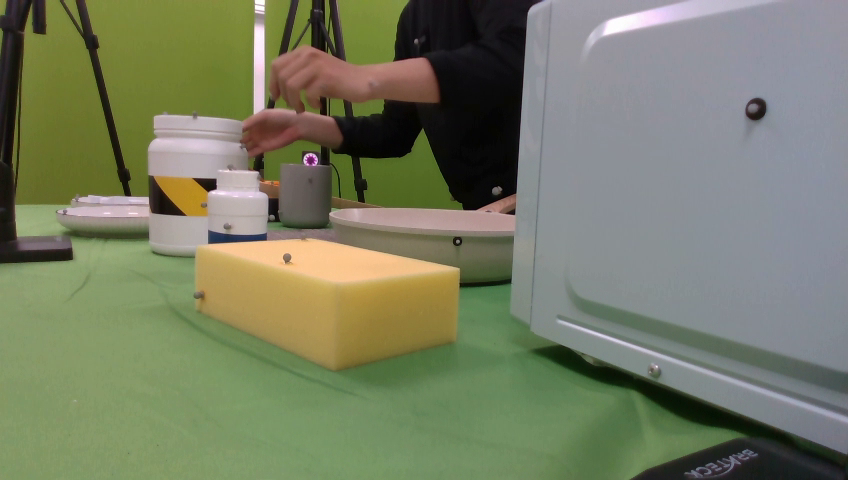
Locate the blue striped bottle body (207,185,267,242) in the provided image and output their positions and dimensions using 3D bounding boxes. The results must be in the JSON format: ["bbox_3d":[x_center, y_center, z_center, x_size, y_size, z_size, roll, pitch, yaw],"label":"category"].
[{"bbox_3d":[-0.204,-0.016,0.663,0.063,0.120,0.063,2,7,0],"label":"blue striped bottle body"}]

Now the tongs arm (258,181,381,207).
[{"bbox_3d":[-0.241,-0.095,1.373,0.387,0.026,0.050,9,0,-37],"label":"tongs arm"}]

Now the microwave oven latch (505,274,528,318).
[{"bbox_3d":[0.100,0.041,0.472,0.079,0.029,0.030,-2,8,-30],"label":"microwave oven latch"}]

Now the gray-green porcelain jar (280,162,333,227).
[{"bbox_3d":[-0.237,-0.092,1.220,0.106,0.126,0.106,2,7,0],"label":"gray-green porcelain jar"}]

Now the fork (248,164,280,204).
[{"bbox_3d":[-0.399,-0.144,1.489,0.028,0.018,0.208,23,-23,47],"label":"fork"}]

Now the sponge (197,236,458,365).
[{"bbox_3d":[-0.087,0.039,0.500,0.206,0.061,0.119,8,10,44],"label":"sponge"}]

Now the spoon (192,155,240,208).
[{"bbox_3d":[-0.489,-0.134,1.417,0.041,0.021,0.194,3,-36,21],"label":"spoon"}]

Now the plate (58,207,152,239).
[{"bbox_3d":[-0.496,-0.030,1.021,0.209,0.038,0.209,2,8,0],"label":"plate"}]

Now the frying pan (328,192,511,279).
[{"bbox_3d":[0.071,-0.030,0.883,0.305,0.102,0.490,7,17,28],"label":"frying pan"}]

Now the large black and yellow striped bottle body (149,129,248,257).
[{"bbox_3d":[-0.315,-0.075,0.854,0.131,0.184,0.130,2,7,0],"label":"large black and yellow striped bottle body"}]

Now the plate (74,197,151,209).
[{"bbox_3d":[-0.596,-0.062,1.238,0.208,0.039,0.207,2,8,0],"label":"plate"}]

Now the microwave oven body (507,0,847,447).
[{"bbox_3d":[0.331,-0.042,0.425,0.444,0.260,0.324,-2,8,-31],"label":"microwave oven body"}]

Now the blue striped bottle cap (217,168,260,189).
[{"bbox_3d":[-0.202,-0.067,0.657,0.044,0.020,0.044,0,11,0],"label":"blue striped bottle cap"}]

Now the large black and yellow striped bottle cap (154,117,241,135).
[{"bbox_3d":[-0.314,-0.158,0.843,0.115,0.019,0.115,3,7,0],"label":"large black and yellow striped bottle cap"}]

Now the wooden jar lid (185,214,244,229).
[{"bbox_3d":[-0.404,-0.037,1.169,0.108,0.020,0.108,3,7,0],"label":"wooden jar lid"}]

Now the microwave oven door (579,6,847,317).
[{"bbox_3d":[0.294,-0.067,0.570,0.358,0.243,0.039,-3,9,-31],"label":"microwave oven door"}]

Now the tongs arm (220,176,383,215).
[{"bbox_3d":[-0.284,-0.105,1.445,0.389,0.027,0.028,10,-4,-23],"label":"tongs arm"}]
